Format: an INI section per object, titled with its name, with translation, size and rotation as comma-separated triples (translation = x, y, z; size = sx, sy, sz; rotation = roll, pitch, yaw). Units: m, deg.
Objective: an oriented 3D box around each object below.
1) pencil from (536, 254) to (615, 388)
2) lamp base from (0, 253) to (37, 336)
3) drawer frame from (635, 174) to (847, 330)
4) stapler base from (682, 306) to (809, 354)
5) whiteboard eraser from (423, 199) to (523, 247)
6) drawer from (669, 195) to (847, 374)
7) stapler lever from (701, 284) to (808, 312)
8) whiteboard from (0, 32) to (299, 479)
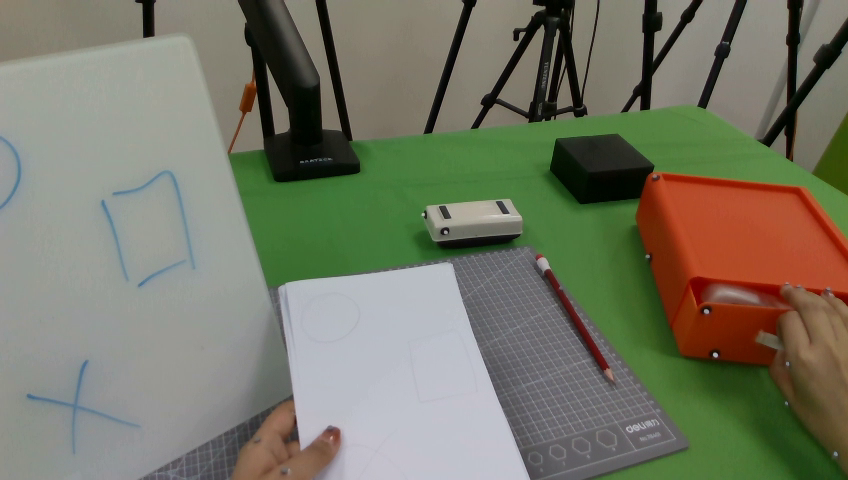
[pencil]
translation = 0.155, 0.078, 0.632
size = 0.012, 0.012, 0.192
rotation = -5, 39, -13
[lamp base]
translation = -0.466, -0.003, 0.531
size = 0.178, 0.182, 0.160
rotation = 14, 37, 18
[drawer frame]
translation = 0.361, 0.017, 0.680
size = 0.201, 0.083, 0.212
rotation = 5, 35, 2
[stapler base]
translation = 0.330, 0.085, 0.616
size = 0.131, 0.024, 0.041
rotation = 10, 40, -7
[whiteboard eraser]
translation = 0.059, -0.019, 0.734
size = 0.113, 0.042, 0.055
rotation = -5, 37, -13
[drawer]
translation = 0.358, 0.038, 0.651
size = 0.194, 0.074, 0.210
rotation = 6, 36, 3
[stapler lever]
translation = 0.335, 0.069, 0.603
size = 0.118, 0.040, 0.026
rotation = 7, 40, -4
[whiteboard]
translation = -0.258, 0.020, 0.466
size = 0.217, 0.307, 0.142
rotation = -24, 25, -33
